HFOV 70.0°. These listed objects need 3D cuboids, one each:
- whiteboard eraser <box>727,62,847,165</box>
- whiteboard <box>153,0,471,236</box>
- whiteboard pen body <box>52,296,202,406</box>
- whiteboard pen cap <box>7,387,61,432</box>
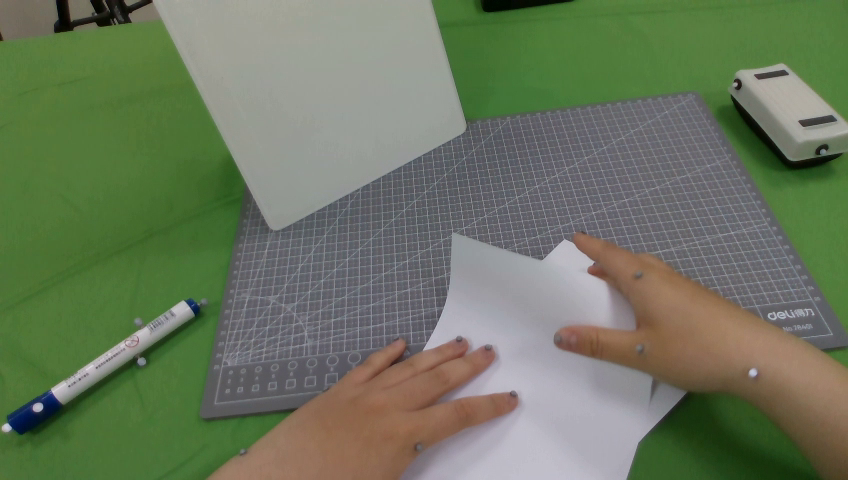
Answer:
[{"bbox_3d":[0.325,-0.114,0.543,0.055,0.042,0.111,-13,49,-1],"label":"whiteboard eraser"},{"bbox_3d":[-0.119,-0.201,0.542,0.217,0.308,0.142,-30,31,-17],"label":"whiteboard"},{"bbox_3d":[-0.230,0.087,0.452,0.140,0.017,0.017,-38,54,-25],"label":"whiteboard pen body"},{"bbox_3d":[-0.273,0.118,0.427,0.033,0.018,0.018,-38,54,-25],"label":"whiteboard pen cap"}]
